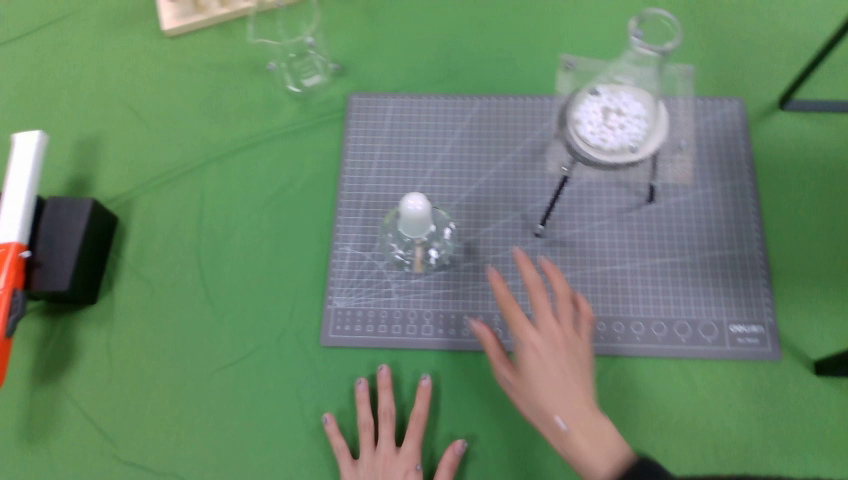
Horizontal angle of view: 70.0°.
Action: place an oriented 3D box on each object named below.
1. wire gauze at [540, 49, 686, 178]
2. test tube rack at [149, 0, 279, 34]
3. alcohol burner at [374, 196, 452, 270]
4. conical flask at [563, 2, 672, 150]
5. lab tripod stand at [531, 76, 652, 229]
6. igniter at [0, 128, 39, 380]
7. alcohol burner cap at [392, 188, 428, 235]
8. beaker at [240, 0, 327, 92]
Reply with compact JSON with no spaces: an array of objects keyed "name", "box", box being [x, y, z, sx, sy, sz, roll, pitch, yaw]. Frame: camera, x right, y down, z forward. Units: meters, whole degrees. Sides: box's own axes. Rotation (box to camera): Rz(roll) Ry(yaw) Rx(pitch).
[{"name":"wire gauze","box":[0.167,-0.112,0.531,0.121,0.011,0.124,7,68,2]},{"name":"test tube rack","box":[-0.224,-0.334,0.727,0.242,0.086,0.066,-18,70,-4]},{"name":"alcohol burner","box":[-0.011,-0.014,0.584,0.078,0.120,0.077,0,68,1]},{"name":"conical flask","box":[0.155,-0.129,0.474,0.075,0.122,0.075,-1,70,2]},{"name":"lab tripod stand","box":[0.163,-0.085,0.591,0.148,0.132,0.147,0,68,1]},{"name":"igniter","box":[-0.412,0.015,0.589,0.057,0.025,0.274,-7,69,5]},{"name":"alcohol burner cap","box":[-0.013,-0.029,0.551,0.034,0.048,0.033,1,64,-1]},{"name":"beaker","box":[-0.154,-0.219,0.675,0.084,0.101,0.073,-39,72,-11]}]
